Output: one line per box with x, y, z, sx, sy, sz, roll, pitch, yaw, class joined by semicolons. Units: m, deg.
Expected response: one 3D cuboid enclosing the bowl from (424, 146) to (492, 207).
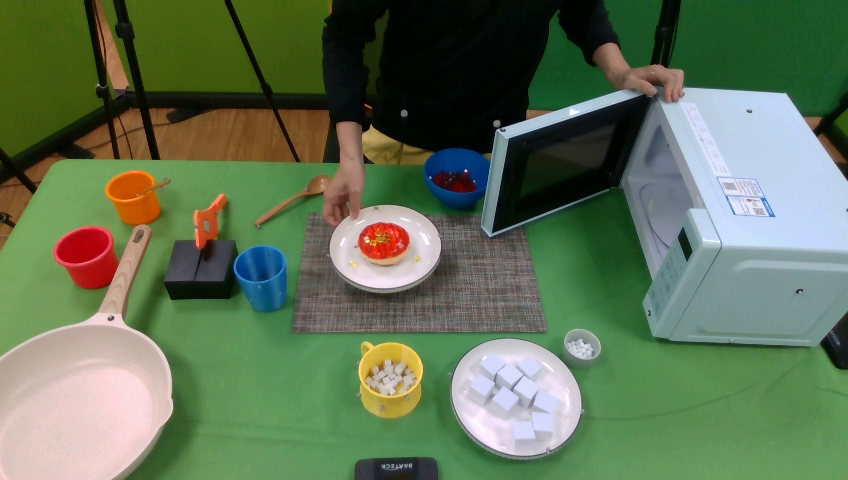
0.074;-0.122;1.277;0.151;0.077;0.150;2;46;-2;bowl

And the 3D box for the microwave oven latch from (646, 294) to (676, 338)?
0.412;0.133;1.060;0.030;0.029;0.078;3;46;0;microwave oven latch

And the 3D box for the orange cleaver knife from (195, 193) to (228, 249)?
-0.406;-0.041;1.163;0.012;0.077;0.210;0;18;-3;orange cleaver knife

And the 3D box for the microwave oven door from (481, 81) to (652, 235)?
0.280;-0.162;1.191;0.356;0.245;0.039;-21;51;-22;microwave oven door

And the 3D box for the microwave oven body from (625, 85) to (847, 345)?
0.568;-0.054;1.116;0.326;0.261;0.439;2;46;-1;microwave oven body

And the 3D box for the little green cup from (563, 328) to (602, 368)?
0.265;0.184;1.025;0.061;0.039;0.061;1;46;-1;little green cup

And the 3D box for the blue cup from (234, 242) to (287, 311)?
-0.276;0.071;1.052;0.093;0.101;0.092;1;48;-1;blue cup

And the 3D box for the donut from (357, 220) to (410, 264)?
-0.074;0.002;1.115;0.099;0.048;0.098;1;46;-1;donut

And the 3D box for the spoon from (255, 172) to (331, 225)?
-0.272;-0.087;1.257;0.041;0.022;0.193;42;57;18;spoon

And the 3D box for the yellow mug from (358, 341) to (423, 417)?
-0.063;0.210;0.961;0.100;0.064;0.130;-29;54;-27;yellow mug

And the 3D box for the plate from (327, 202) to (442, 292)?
-0.071;0.016;1.118;0.209;0.038;0.208;1;49;-1;plate

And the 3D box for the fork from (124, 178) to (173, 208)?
-0.525;-0.090;1.154;0.207;0.019;0.028;-17;27;45;fork

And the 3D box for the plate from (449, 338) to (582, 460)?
0.141;0.251;0.955;0.208;0.039;0.206;2;46;-2;plate

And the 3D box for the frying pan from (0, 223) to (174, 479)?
-0.505;0.169;0.941;0.307;0.103;0.485;5;54;-1;frying pan
